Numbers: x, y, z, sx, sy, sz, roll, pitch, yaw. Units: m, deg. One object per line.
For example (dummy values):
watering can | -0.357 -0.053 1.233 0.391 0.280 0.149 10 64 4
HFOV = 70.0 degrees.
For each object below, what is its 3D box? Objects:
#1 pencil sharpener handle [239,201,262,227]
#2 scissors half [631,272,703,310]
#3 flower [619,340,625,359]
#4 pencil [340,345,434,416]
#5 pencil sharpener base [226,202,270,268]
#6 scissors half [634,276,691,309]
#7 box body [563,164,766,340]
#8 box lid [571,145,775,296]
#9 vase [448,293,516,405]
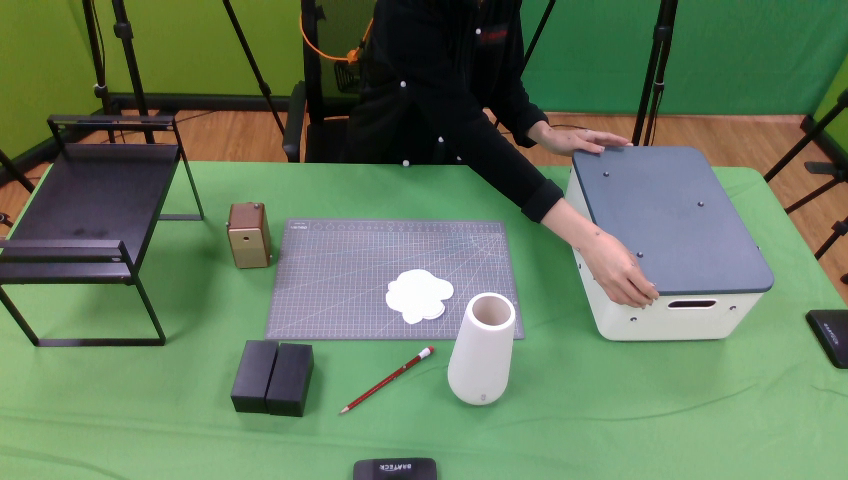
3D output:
pencil sharpener handle | -0.325 -0.055 1.150 0.036 0.068 0.030 -13 46 4
scissors half | 0.460 0.092 1.132 0.175 0.040 0.013 -22 84 -21
flower | 0.416 0.065 1.186 0.038 0.044 0.360 29 64 -20
pencil | -0.058 0.227 0.984 0.194 0.012 0.012 -32 56 -28
pencil sharpener base | -0.323 -0.010 1.123 0.061 0.107 0.076 -3 46 -7
scissors half | 0.454 0.096 1.144 0.175 0.040 0.013 -20 89 -31
box body | 0.421 0.003 1.130 0.254 0.161 0.361 0 46 -5
box lid | 0.424 -0.048 1.074 0.263 0.015 0.369 -1 47 -4
vase | 0.091 0.169 0.921 0.098 0.201 0.097 3 47 -3
